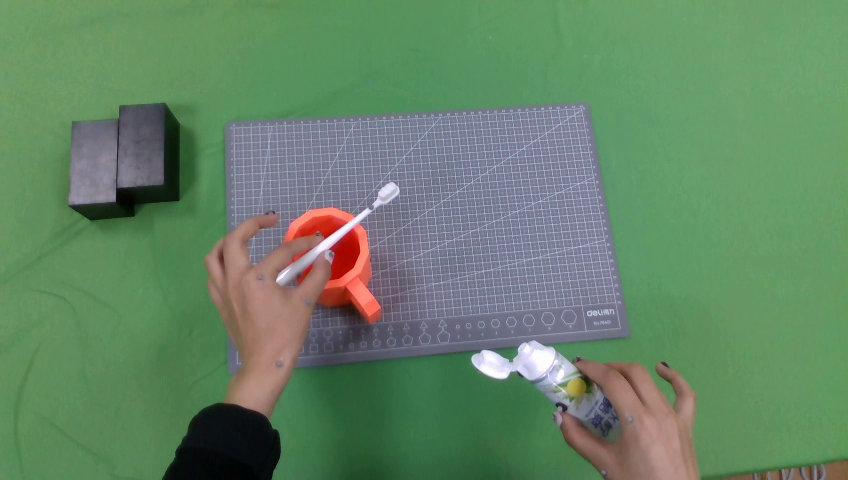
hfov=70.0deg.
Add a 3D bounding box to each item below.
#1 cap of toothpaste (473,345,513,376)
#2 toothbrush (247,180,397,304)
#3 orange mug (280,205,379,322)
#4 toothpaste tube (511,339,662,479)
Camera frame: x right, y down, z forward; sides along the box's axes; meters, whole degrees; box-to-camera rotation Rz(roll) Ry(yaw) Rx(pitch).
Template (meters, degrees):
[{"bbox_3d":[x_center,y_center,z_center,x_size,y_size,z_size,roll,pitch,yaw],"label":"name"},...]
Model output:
[{"bbox_3d":[0.059,0.102,0.516,0.037,0.037,0.011,24,110,3],"label":"cap of toothpaste"},{"bbox_3d":[-0.098,0.001,0.587,0.182,0.017,0.014,-40,78,-7],"label":"toothbrush"},{"bbox_3d":[-0.092,0.032,0.644,0.083,0.101,0.125,-38,76,-13],"label":"orange mug"},{"bbox_3d":[0.139,0.143,0.528,0.166,0.034,0.055,40,85,-12],"label":"toothpaste tube"}]
